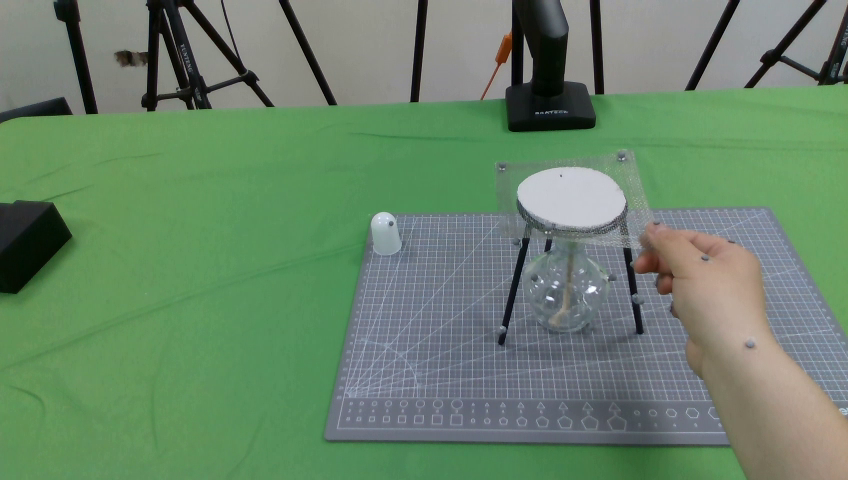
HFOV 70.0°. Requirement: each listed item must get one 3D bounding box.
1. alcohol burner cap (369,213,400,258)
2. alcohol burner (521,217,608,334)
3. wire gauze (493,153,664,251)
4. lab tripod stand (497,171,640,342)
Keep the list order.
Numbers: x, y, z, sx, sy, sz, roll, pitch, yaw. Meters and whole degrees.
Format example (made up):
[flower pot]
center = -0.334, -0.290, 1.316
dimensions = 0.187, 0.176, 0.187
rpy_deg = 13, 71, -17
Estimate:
[alcohol burner cap]
center = -0.044, -0.008, 0.657
dimensions = 0.034, 0.048, 0.033
rpy_deg = -2, 41, 2
[alcohol burner]
center = 0.127, 0.027, 0.543
dimensions = 0.078, 0.120, 0.077
rpy_deg = -1, 40, 2
[wire gauze]
center = 0.120, -0.034, 0.494
dimensions = 0.125, 0.011, 0.120
rpy_deg = 0, 40, 4
[lab tripod stand]
center = 0.128, 0.017, 0.538
dimensions = 0.148, 0.132, 0.147
rpy_deg = -2, 39, 2
